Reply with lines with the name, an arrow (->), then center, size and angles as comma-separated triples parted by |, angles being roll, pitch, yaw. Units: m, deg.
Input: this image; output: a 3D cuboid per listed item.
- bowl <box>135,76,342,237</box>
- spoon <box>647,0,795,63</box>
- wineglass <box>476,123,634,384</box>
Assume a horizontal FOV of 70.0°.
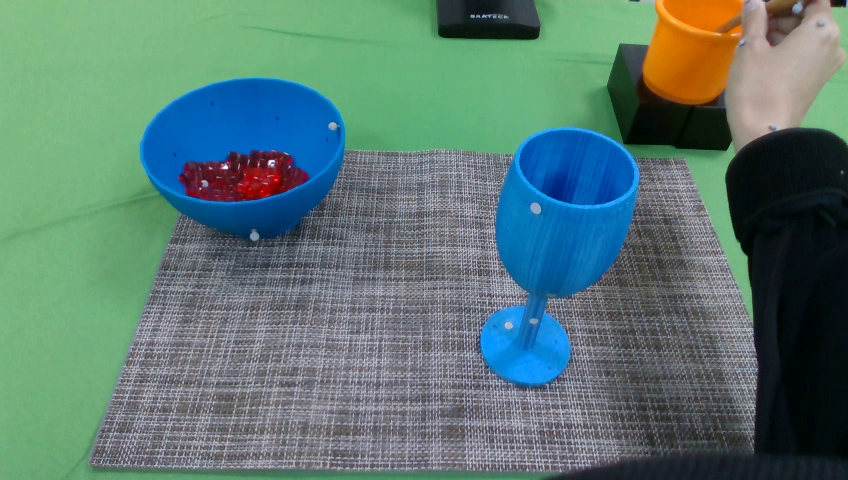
bowl -> -0.139, -0.056, 0.485 | 0.151, 0.077, 0.150 | 2, 49, -1
spoon -> 0.248, -0.176, 0.492 | 0.042, 0.193, 0.021 | -16, 92, -13
wineglass -> 0.072, 0.017, 0.369 | 0.074, 0.174, 0.073 | 1, 49, -1
